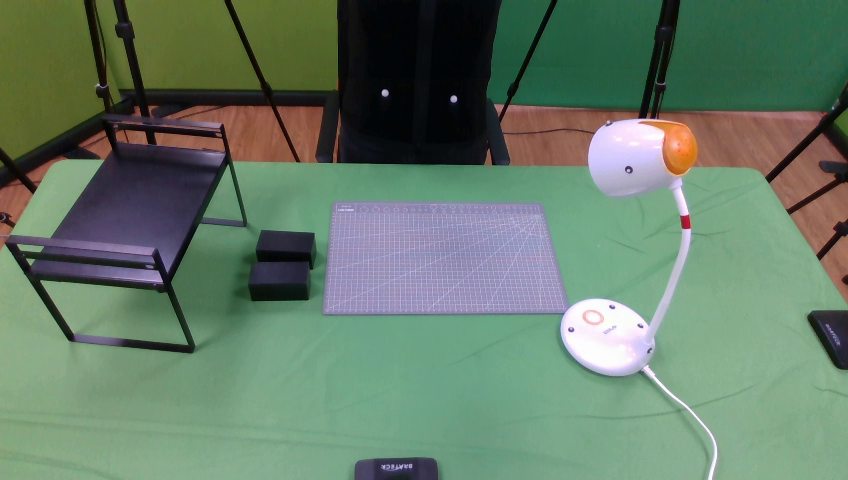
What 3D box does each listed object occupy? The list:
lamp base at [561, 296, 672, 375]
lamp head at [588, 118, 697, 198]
[{"bbox_3d":[0.332,0.119,0.996,0.160,0.181,0.178,-34,59,-30],"label":"lamp base"},{"bbox_3d":[0.304,-0.113,0.823,0.112,0.112,0.122,-26,16,-26],"label":"lamp head"}]
